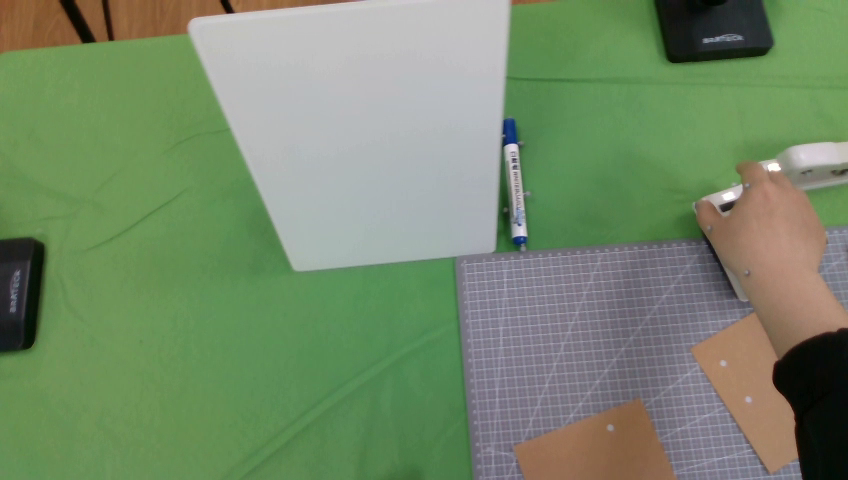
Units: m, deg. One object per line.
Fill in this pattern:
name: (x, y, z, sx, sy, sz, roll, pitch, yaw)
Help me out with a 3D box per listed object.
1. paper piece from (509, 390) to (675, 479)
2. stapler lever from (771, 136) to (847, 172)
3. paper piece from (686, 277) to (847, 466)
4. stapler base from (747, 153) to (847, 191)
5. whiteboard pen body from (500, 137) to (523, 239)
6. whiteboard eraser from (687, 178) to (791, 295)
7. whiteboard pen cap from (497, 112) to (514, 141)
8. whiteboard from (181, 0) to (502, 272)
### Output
paper piece: (0.167, 0.229, 0.571, 0.135, 0.004, 0.135, -19, 75, -5)
stapler lever: (0.418, -0.092, 0.627, 0.118, 0.040, 0.026, -10, 76, -2)
paper piece: (0.351, 0.127, 0.596, 0.136, 0.009, 0.137, -27, 76, -2)
stapler base: (0.418, -0.084, 0.650, 0.130, 0.024, 0.041, -10, 76, -3)
whiteboard pen body: (0.094, -0.069, 0.659, 0.017, 0.017, 0.140, -4, 73, 1)
whiteboard eraser: (0.317, -0.003, 0.617, 0.055, 0.042, 0.112, -20, 74, -2)
whiteboard pen cap: (0.091, -0.125, 0.674, 0.018, 0.018, 0.033, -6, 71, 0)
whiteboard: (-0.048, -0.121, 0.561, 0.217, 0.308, 0.142, -5, 54, 1)
